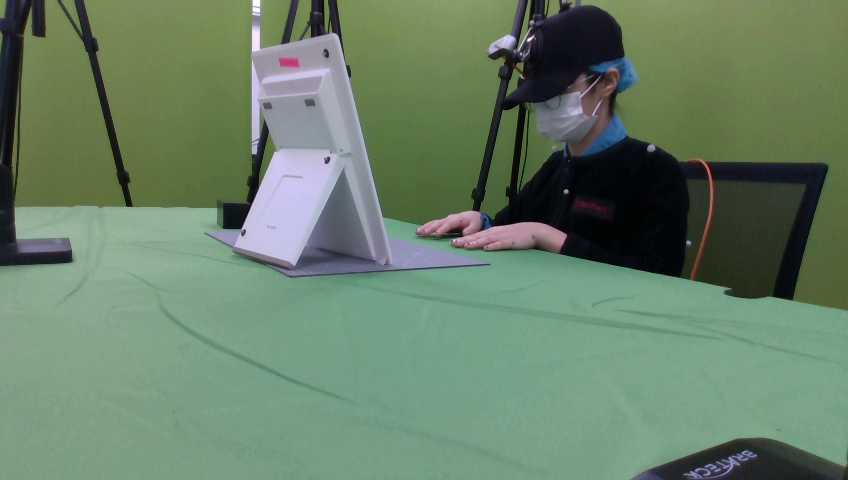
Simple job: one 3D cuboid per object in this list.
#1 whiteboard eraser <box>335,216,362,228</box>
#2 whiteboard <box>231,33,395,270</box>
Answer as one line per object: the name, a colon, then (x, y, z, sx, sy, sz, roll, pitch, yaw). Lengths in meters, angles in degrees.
whiteboard eraser: (-0.159, -0.039, 1.277, 0.041, 0.019, 0.101, 3, 7, 6)
whiteboard: (-0.193, -0.094, 0.805, 0.144, 0.305, 0.216, -28, 25, -35)
